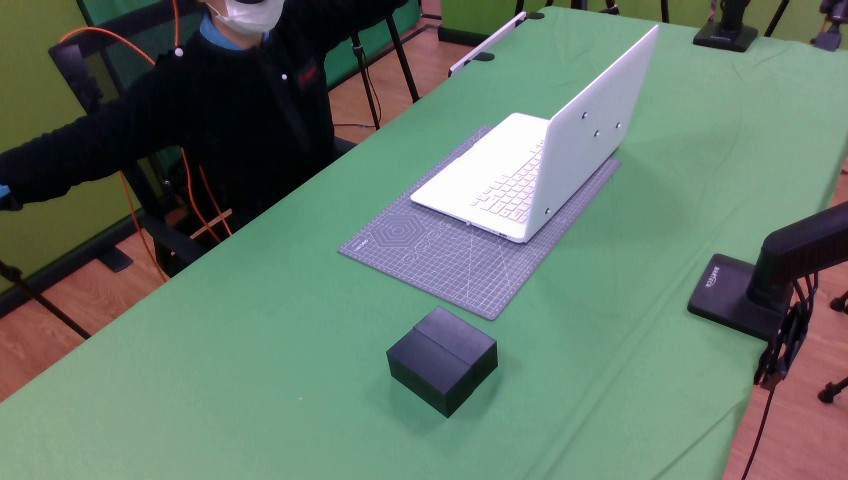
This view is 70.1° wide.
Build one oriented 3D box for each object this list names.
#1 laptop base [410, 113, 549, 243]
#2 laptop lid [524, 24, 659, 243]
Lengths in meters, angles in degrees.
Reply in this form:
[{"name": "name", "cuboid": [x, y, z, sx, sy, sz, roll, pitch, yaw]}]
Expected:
[{"name": "laptop base", "cuboid": [0.171, -0.126, 1.096, 0.233, 0.023, 0.355, 21, 47, 33]}, {"name": "laptop lid", "cuboid": [0.266, -0.170, 0.949, 0.013, 0.242, 0.358, 30, 50, 25]}]
